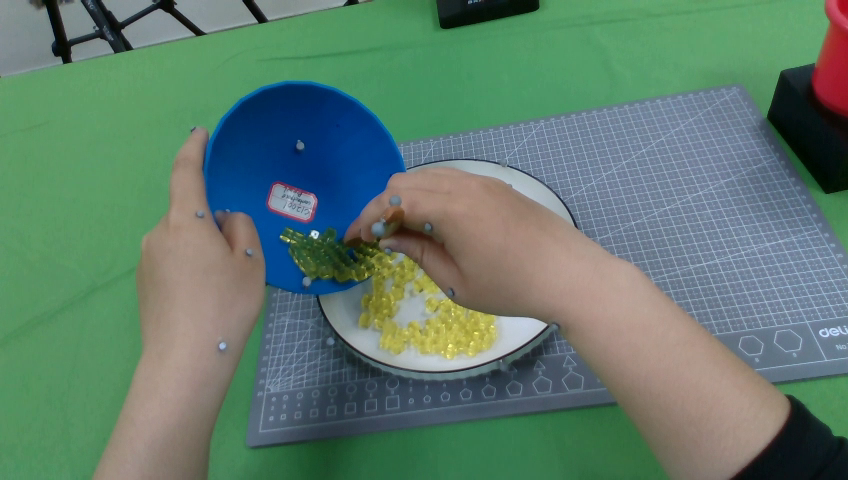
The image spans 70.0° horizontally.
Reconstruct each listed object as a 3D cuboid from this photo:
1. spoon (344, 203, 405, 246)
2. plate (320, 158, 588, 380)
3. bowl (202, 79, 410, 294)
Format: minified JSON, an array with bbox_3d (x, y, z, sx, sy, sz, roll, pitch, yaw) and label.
[{"bbox_3d":[-0.027,-0.009,0.369,0.041,0.193,0.022,-34,97,-9],"label":"spoon"},{"bbox_3d":[0.022,0.019,0.479,0.207,0.039,0.205,-6,50,8],"label":"plate"},{"bbox_3d":[-0.094,-0.034,0.450,0.151,0.152,0.076,-51,21,-26],"label":"bowl"}]
